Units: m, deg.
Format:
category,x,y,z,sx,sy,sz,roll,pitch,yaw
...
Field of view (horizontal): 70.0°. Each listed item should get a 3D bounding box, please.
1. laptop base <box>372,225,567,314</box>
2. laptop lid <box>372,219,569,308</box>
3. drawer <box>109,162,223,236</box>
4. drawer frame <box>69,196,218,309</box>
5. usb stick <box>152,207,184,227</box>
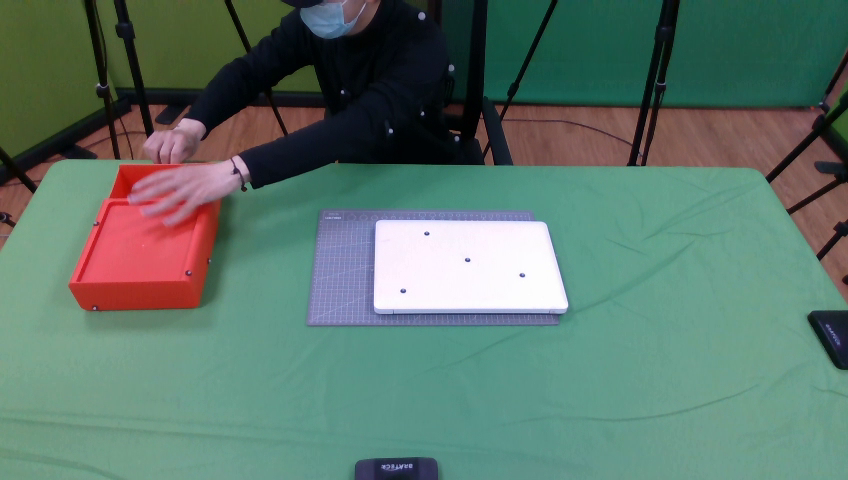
category,x,y,z,sx,sy,sz,roll,pitch,yaw
laptop base,0.080,0.049,1.158,0.355,0.023,0.234,0,43,-4
laptop lid,0.081,0.039,1.152,0.357,0.013,0.240,2,44,-3
drawer,-0.507,-0.059,1.176,0.195,0.073,0.210,-1,47,-6
drawer frame,-0.497,0.017,1.101,0.202,0.083,0.212,-1,47,-6
usb stick,-0.506,-0.046,1.190,0.059,0.027,0.021,12,47,6
